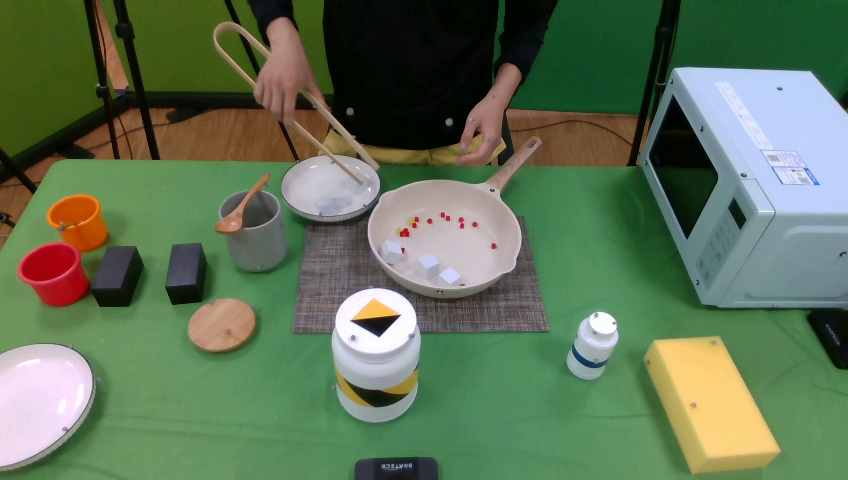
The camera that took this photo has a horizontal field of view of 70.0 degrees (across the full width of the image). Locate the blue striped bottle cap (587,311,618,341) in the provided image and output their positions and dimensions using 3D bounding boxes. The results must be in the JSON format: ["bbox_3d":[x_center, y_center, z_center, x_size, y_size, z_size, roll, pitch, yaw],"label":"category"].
[{"bbox_3d":[0.279,0.134,0.947,0.044,0.021,0.044,2,45,-2],"label":"blue striped bottle cap"}]

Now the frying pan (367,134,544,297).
[{"bbox_3d":[0.104,-0.069,1.205,0.305,0.103,0.487,33,61,23],"label":"frying pan"}]

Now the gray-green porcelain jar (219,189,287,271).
[{"bbox_3d":[-0.309,-0.014,1.113,0.106,0.127,0.105,2,46,-2],"label":"gray-green porcelain jar"}]

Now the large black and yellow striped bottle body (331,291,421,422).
[{"bbox_3d":[-0.071,0.175,0.911,0.131,0.185,0.130,2,47,-2],"label":"large black and yellow striped bottle body"}]

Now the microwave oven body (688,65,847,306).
[{"bbox_3d":[0.669,-0.111,1.176,0.326,0.261,0.439,0,46,-3],"label":"microwave oven body"}]

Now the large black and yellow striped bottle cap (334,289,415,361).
[{"bbox_3d":[-0.069,0.117,0.850,0.115,0.019,0.114,2,45,-2],"label":"large black and yellow striped bottle cap"}]

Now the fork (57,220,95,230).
[{"bbox_3d":[-0.623,-0.027,1.086,0.028,0.207,0.018,-2,92,-16],"label":"fork"}]

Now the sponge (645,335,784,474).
[{"bbox_3d":[0.449,0.253,0.956,0.118,0.061,0.205,-4,46,-7],"label":"sponge"}]

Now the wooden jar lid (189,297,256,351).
[{"bbox_3d":[-0.342,0.145,1.033,0.108,0.021,0.107,2,45,-2],"label":"wooden jar lid"}]

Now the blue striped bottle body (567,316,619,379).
[{"bbox_3d":[0.276,0.168,0.984,0.063,0.121,0.062,2,46,-2],"label":"blue striped bottle body"}]

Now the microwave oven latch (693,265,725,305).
[{"bbox_3d":[0.523,0.081,1.116,0.030,0.029,0.078,2,46,-1],"label":"microwave oven latch"}]

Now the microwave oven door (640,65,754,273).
[{"bbox_3d":[0.523,-0.147,1.193,0.039,0.245,0.353,0,47,-3],"label":"microwave oven door"}]

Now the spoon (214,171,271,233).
[{"bbox_3d":[-0.312,-0.070,1.070,0.041,0.022,0.193,10,43,10],"label":"spoon"}]

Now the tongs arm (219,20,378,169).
[{"bbox_3d":[-0.234,-0.266,1.135,0.051,0.026,0.385,-43,93,-15],"label":"tongs arm"}]

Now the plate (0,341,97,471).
[{"bbox_3d":[-0.599,0.247,0.904,0.209,0.038,0.208,2,47,-2],"label":"plate"}]

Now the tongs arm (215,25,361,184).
[{"bbox_3d":[-0.253,-0.246,1.127,0.388,0.028,0.028,46,79,-3],"label":"tongs arm"}]

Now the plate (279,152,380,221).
[{"bbox_3d":[-0.196,-0.108,1.269,0.208,0.039,0.206,2,45,-2],"label":"plate"}]
